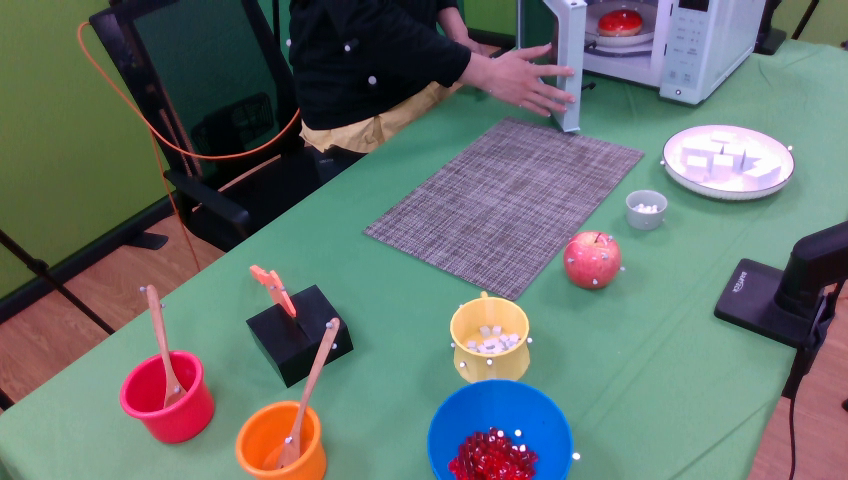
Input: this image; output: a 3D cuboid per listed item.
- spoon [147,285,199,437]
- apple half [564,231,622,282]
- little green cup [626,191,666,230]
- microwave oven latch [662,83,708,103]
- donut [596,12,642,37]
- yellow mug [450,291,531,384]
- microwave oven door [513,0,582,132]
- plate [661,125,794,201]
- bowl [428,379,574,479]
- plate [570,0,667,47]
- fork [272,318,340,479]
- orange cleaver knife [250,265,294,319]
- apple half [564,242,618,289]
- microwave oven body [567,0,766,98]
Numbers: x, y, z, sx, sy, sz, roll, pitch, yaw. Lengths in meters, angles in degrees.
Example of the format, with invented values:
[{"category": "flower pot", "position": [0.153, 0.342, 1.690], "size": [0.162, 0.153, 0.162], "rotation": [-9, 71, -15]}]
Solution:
[{"category": "spoon", "position": [-0.318, 0.148, 0.754], "size": [0.042, 0.021, 0.193], "rotation": [-14, 85, -11]}, {"category": "apple half", "position": [0.248, 0.021, 0.874], "size": [0.080, 0.075, 0.053], "rotation": [13, 40, 29]}, {"category": "little green cup", "position": [0.352, -0.046, 0.963], "size": [0.061, 0.039, 0.061], "rotation": [-4, 40, 4]}, {"category": "microwave oven latch", "position": [0.519, -0.297, 1.204], "size": [0.030, 0.029, 0.078], "rotation": [-37, 47, -29]}, {"category": "donut", "position": [0.434, -0.477, 1.347], "size": [0.099, 0.048, 0.098], "rotation": [-8, 36, 6]}, {"category": "yellow mug", "position": [0.085, 0.120, 0.786], "size": [0.100, 0.064, 0.130], "rotation": [-7, 39, 1]}, {"category": "microwave oven door", "position": [0.244, -0.411, 1.225], "size": [0.039, 0.245, 0.353], "rotation": [-11, 40, -3]}, {"category": "plate", "position": [0.513, -0.128, 1.035], "size": [0.207, 0.039, 0.206], "rotation": [-4, 40, 4]}, {"category": "bowl", "position": [0.082, 0.233, 0.644], "size": [0.151, 0.077, 0.150], "rotation": [-4, 39, 4]}, {"category": "plate", "position": [0.437, -0.486, 1.368], "size": [0.209, 0.038, 0.208], "rotation": [-5, 41, 5]}, {"category": "fork", "position": [-0.131, 0.186, 0.676], "size": [0.028, 0.019, 0.207], "rotation": [17, 90, 28]}, {"category": "orange cleaver knife", "position": [-0.222, 0.073, 0.876], "size": [0.012, 0.077, 0.210], "rotation": [-24, 13, -22]}, {"category": "apple half", "position": [0.229, 0.044, 0.848], "size": [0.081, 0.081, 0.033], "rotation": [16, 41, 26]}, {"category": "microwave oven body", "position": [0.472, -0.513, 1.317], "size": [0.438, 0.261, 0.327], "rotation": [26, 51, 34]}]
